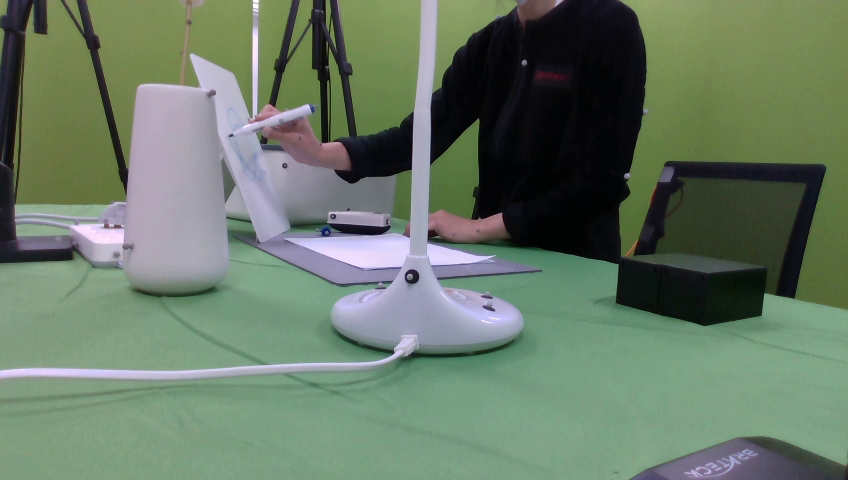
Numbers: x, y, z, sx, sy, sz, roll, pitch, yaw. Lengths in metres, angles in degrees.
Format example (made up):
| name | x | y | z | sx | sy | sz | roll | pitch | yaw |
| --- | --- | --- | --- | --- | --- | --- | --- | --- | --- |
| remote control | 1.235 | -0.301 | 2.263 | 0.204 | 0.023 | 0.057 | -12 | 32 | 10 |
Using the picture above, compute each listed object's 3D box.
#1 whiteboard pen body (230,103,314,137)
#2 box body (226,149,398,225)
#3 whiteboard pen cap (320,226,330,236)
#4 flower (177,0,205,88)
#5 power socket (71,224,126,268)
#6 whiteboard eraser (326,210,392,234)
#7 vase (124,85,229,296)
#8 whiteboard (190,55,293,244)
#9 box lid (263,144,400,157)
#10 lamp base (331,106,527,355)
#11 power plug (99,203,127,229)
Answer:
| name | x | y | z | sx | sy | sz | roll | pitch | yaw |
| --- | --- | --- | --- | --- | --- | --- | --- | --- | --- |
| whiteboard pen body | -0.242 | -0.189 | 0.962 | 0.141 | 0.017 | 0.017 | -22 | 13 | -10 |
| box body | -0.265 | -0.129 | 1.380 | 0.253 | 0.160 | 0.366 | 8 | 9 | 39 |
| whiteboard pen cap | -0.176 | -0.016 | 1.075 | 0.018 | 0.018 | 0.033 | 1 | 5 | -13 |
| flower | -0.243 | -0.131 | 0.609 | 0.044 | 0.361 | 0.038 | -5 | -12 | 12 |
| power socket | -0.409 | 0.004 | 0.793 | 0.072 | 0.032 | 0.225 | -2 | 8 | -37 |
| whiteboard eraser | -0.121 | -0.033 | 1.131 | 0.112 | 0.042 | 0.056 | 4 | 8 | 13 |
| vase | -0.244 | -0.047 | 0.598 | 0.098 | 0.200 | 0.098 | 3 | 8 | 0 |
| whiteboard | -0.362 | -0.129 | 1.029 | 0.144 | 0.305 | 0.217 | -18 | 7 | 3 |
| box lid | -0.263 | -0.203 | 1.369 | 0.262 | 0.015 | 0.373 | 9 | 10 | 39 |
| lamp base | 0.006 | -0.012 | 0.478 | 0.161 | 0.180 | 0.179 | 2 | 10 | 2 |
| power plug | -0.415 | -0.026 | 0.848 | 0.073 | 0.052 | 0.035 | 6 | 5 | -28 |
